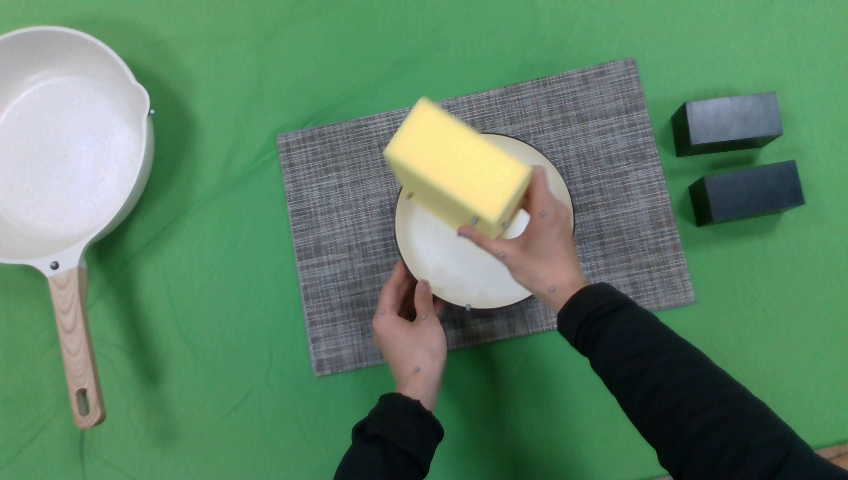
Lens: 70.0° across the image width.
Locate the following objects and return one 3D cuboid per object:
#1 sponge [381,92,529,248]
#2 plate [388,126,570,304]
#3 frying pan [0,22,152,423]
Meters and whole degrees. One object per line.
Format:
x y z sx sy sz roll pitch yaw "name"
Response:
0.035 -0.060 0.619 0.118 0.207 0.061 33 86 9 "sponge"
0.063 -0.028 0.707 0.207 0.039 0.207 -1 83 4 "plate"
-0.437 -0.023 0.718 0.307 0.103 0.484 -20 74 4 "frying pan"
